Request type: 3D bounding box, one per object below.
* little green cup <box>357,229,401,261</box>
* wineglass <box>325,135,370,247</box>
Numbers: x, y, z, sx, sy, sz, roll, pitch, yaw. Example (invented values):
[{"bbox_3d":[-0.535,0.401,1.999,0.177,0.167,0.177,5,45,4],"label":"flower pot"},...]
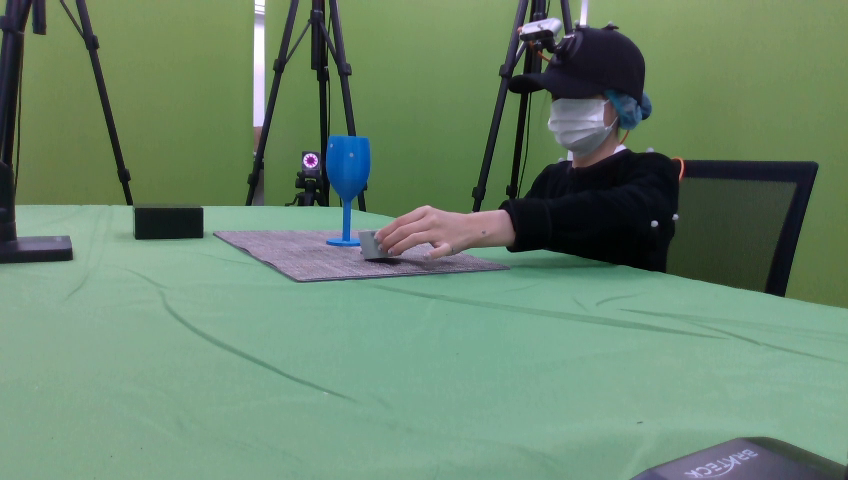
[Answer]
[{"bbox_3d":[-0.059,0.006,0.824,0.061,0.038,0.061,-7,1,0],"label":"little green cup"},{"bbox_3d":[-0.123,-0.078,0.964,0.074,0.172,0.073,3,7,0],"label":"wineglass"}]
